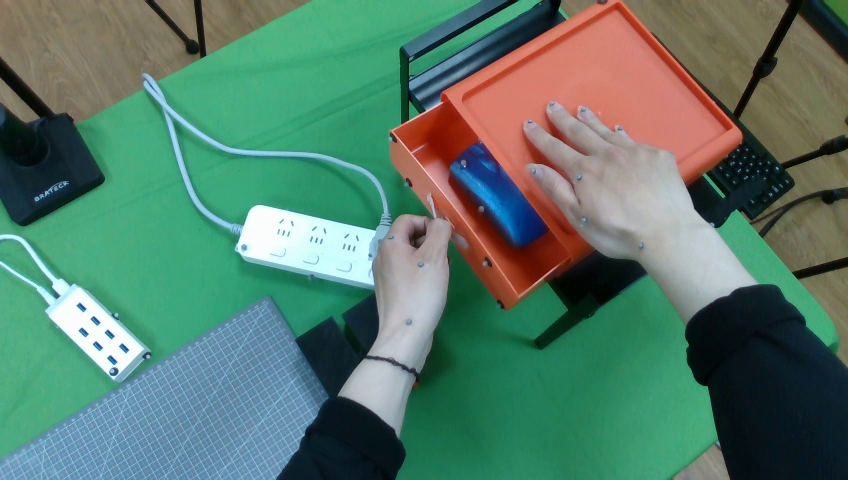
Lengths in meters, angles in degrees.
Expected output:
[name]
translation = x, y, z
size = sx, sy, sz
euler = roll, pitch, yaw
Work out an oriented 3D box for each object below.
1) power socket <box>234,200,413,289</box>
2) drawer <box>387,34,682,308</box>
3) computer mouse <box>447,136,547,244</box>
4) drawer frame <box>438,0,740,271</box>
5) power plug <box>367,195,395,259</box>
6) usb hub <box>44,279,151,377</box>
[power socket]
translation = -0.126, 0.006, 0.763
size = 0.227, 0.033, 0.072
euler = 13, 72, 2
[drawer]
translation = 0.103, -0.073, 0.584
size = 0.212, 0.073, 0.193
euler = -33, 76, -13
[computer mouse]
translation = 0.077, -0.054, 0.592
size = 0.063, 0.041, 0.116
euler = -35, 74, -11
[drawer frame]
translation = 0.153, -0.109, 0.598
size = 0.213, 0.083, 0.200
euler = -33, 76, -13
[power plug]
translation = -0.045, -0.011, 0.752
size = 0.035, 0.053, 0.072
euler = 24, 71, 6
[usb hub]
translation = -0.391, 0.104, 0.725
size = 0.124, 0.025, 0.049
euler = 39, 76, 10
